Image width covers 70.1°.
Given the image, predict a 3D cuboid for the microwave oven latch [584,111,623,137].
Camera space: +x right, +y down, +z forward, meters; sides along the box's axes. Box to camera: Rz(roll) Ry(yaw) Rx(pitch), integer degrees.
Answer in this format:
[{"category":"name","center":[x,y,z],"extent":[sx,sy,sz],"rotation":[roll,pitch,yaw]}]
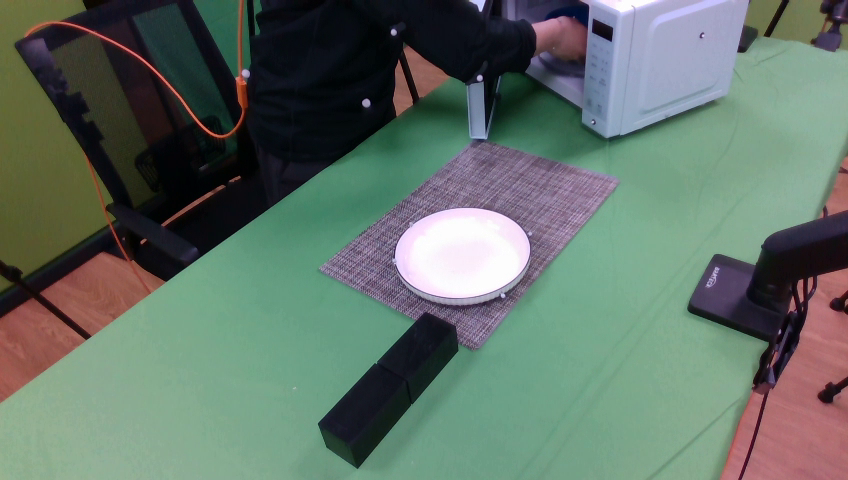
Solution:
[{"category":"microwave oven latch","center":[0.337,-0.222,1.142],"extent":[0.030,0.029,0.078],"rotation":[-21,42,-14]}]

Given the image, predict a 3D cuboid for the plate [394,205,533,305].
[{"category":"plate","center":[0.059,0.025,0.915],"extent":[0.207,0.039,0.206],"rotation":[-4,41,4]}]

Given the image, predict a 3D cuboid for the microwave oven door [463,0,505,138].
[{"category":"microwave oven door","center":[0.127,-0.404,1.226],"extent":[0.039,0.245,0.355],"rotation":[2,42,12]}]

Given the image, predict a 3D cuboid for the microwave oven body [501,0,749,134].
[{"category":"microwave oven body","center":[0.382,-0.444,1.246],"extent":[0.327,0.261,0.437],"rotation":[-22,42,-16]}]
